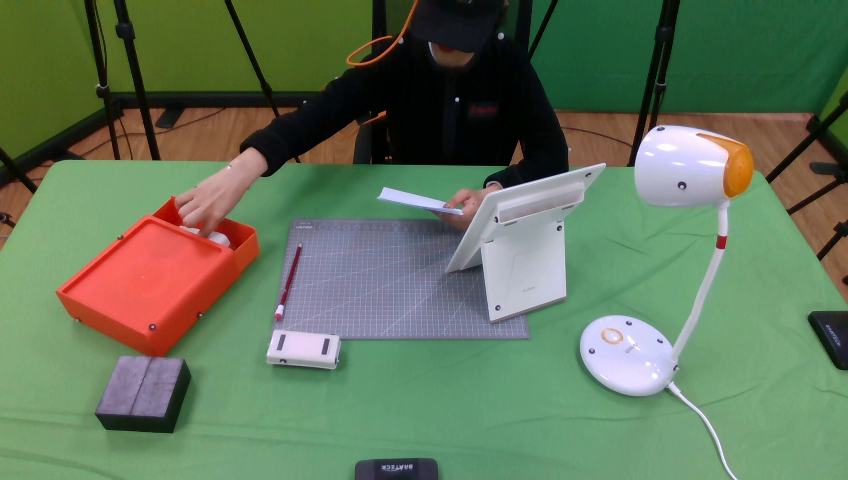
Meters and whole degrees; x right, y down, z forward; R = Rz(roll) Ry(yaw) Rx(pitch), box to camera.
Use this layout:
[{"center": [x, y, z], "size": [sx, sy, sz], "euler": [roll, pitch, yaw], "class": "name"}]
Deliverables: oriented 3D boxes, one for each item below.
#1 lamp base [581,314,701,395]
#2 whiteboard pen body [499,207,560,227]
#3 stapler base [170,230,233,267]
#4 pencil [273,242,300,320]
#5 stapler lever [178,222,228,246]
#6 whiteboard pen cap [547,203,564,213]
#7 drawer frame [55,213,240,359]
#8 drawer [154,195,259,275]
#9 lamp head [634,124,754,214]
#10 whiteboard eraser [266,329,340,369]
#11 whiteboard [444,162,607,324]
[{"center": [0.361, 0.144, 0.973], "size": [0.178, 0.181, 0.160], "euler": [34, 53, 23], "class": "lamp base"}, {"center": [0.222, -0.051, 1.259], "size": [0.141, 0.017, 0.017], "euler": [-15, 49, -16], "class": "whiteboard pen body"}, {"center": [-0.417, 0.011, 1.137], "size": [0.130, 0.024, 0.041], "euler": [24, 31, 20], "class": "stapler base"}, {"center": [-0.249, 0.071, 1.115], "size": [0.012, 0.012, 0.193], "euler": [5, 43, 1], "class": "pencil"}, {"center": [-0.414, -0.012, 1.123], "size": [0.117, 0.040, 0.027], "euler": [23, 31, 20], "class": "stapler lever"}, {"center": [0.277, -0.066, 1.275], "size": [0.033, 0.018, 0.018], "euler": [-19, 50, -15], "class": "whiteboard pen cap"}, {"center": [-0.469, 0.072, 1.050], "size": [0.201, 0.083, 0.213], "euler": [21, 49, 14], "class": "drawer frame"}, {"center": [-0.441, 0.033, 1.093], "size": [0.194, 0.073, 0.211], "euler": [21, 49, 15], "class": "drawer"}, {"center": [0.351, -0.089, 0.776], "size": [0.112, 0.113, 0.122], "euler": [-30, 30, -28], "class": "lamp head"}, {"center": [-0.198, 0.181, 0.994], "size": [0.113, 0.042, 0.055], "euler": [5, 45, 1], "class": "whiteboard eraser"}, {"center": [0.186, 0.025, 1.029], "size": [0.217, 0.306, 0.143], "euler": [-15, 68, -18], "class": "whiteboard"}]
